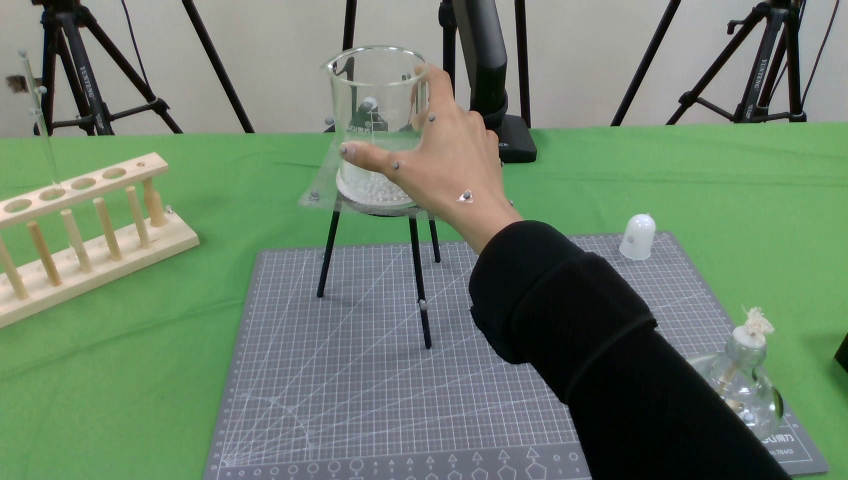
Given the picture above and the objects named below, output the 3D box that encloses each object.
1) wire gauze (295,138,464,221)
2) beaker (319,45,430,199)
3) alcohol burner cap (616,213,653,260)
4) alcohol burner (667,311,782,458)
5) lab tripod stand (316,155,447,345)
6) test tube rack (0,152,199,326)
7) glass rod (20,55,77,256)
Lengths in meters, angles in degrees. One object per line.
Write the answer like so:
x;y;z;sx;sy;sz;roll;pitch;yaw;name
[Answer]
-0.032;-0.055;0.506;0.125;0.011;0.120;3;36;9;wire gauze
-0.037;-0.089;0.471;0.084;0.101;0.073;9;38;11;beaker
0.221;-0.006;0.631;0.034;0.048;0.033;1;37;0;alcohol burner cap
0.217;0.098;0.431;0.078;0.120;0.077;1;35;0;alcohol burner
-0.031;0.003;0.538;0.148;0.132;0.147;0;39;1;lab tripod stand
-0.352;0.002;0.578;0.242;0.086;0.066;-28;45;-32;test tube rack
-0.349;-0.072;0.568;0.008;0.201;0.008;3;30;-1;glass rod
